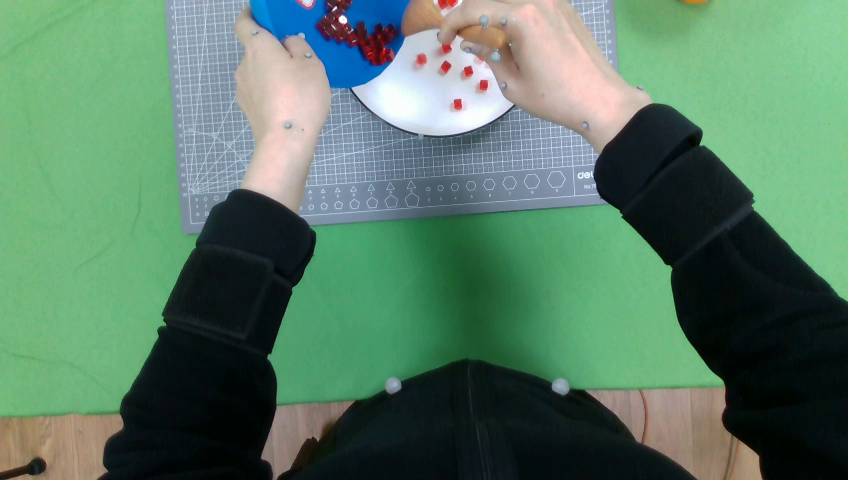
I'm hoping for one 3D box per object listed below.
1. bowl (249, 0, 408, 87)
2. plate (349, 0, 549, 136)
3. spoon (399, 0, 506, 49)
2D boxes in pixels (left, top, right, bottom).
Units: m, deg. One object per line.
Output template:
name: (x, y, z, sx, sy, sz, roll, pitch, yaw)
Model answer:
bowl: (-0.089, -0.208, 0.501, 0.076, 0.153, 0.151, 24, 92, 40)
plate: (0.016, -0.204, 0.591, 0.209, 0.038, 0.209, 0, 91, 2)
spoon: (0.018, -0.161, 0.447, 0.022, 0.191, 0.042, 22, 104, -32)
